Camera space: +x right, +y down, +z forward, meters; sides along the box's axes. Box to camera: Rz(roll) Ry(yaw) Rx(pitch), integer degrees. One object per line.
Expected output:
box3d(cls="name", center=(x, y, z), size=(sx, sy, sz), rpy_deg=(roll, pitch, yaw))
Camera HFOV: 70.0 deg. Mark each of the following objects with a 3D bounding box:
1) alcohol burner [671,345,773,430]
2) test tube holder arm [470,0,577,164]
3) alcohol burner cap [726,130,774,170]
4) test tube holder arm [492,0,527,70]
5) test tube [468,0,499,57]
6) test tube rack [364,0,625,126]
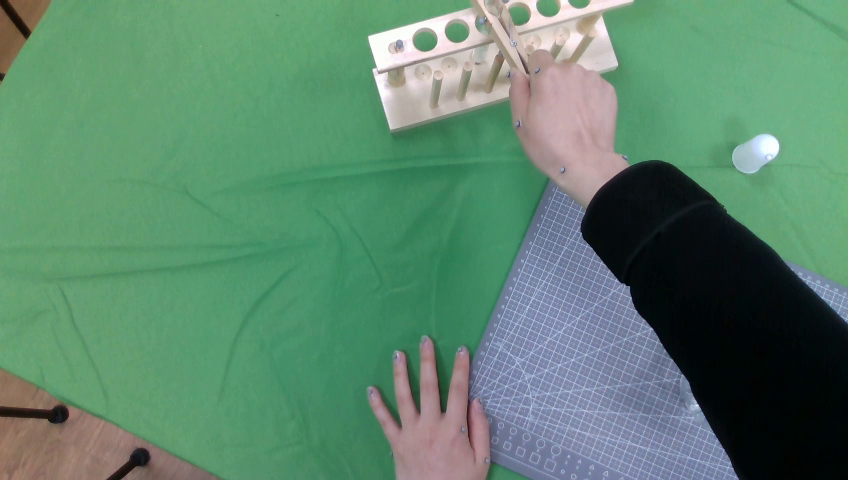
box3d(cls="alcohol burner", center=(0.274, 0.134, 0.547), size=(0.078, 0.119, 0.077), rpy_deg=(0, 82, -2))
box3d(cls="test tube holder arm", center=(0.082, -0.143, 0.516), size=(0.013, 0.015, 0.177), rpy_deg=(-26, 82, -8))
box3d(cls="alcohol burner cap", center=(0.330, -0.093, 0.607), size=(0.034, 0.048, 0.033), rpy_deg=(0, 79, -1))
box3d(cls="test tube holder arm", center=(0.069, -0.185, 0.523), size=(0.010, 0.015, 0.087), rpy_deg=(-17, 81, -7))
box3d(cls="test tube", center=(0.056, -0.204, 0.533), size=(0.017, 0.150, 0.017), rpy_deg=(1, 77, -3))
box3d(cls="test tube rack", center=(0.070, -0.184, 0.583), size=(0.242, 0.085, 0.066), rpy_deg=(-16, 85, -4))
